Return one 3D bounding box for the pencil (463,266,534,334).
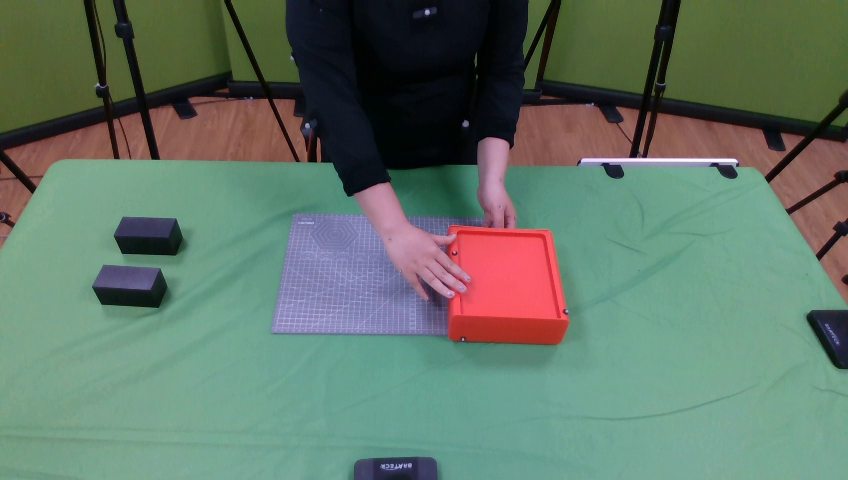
[{"bbox_3d":[0.131,0.104,1.098,0.012,0.012,0.193,-26,51,-26],"label":"pencil"}]

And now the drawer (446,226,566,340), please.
[{"bbox_3d":[0.140,0.073,1.093,0.194,0.073,0.210,3,47,-3],"label":"drawer"}]

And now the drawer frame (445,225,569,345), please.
[{"bbox_3d":[0.141,0.077,1.089,0.202,0.083,0.212,3,47,-3],"label":"drawer frame"}]
